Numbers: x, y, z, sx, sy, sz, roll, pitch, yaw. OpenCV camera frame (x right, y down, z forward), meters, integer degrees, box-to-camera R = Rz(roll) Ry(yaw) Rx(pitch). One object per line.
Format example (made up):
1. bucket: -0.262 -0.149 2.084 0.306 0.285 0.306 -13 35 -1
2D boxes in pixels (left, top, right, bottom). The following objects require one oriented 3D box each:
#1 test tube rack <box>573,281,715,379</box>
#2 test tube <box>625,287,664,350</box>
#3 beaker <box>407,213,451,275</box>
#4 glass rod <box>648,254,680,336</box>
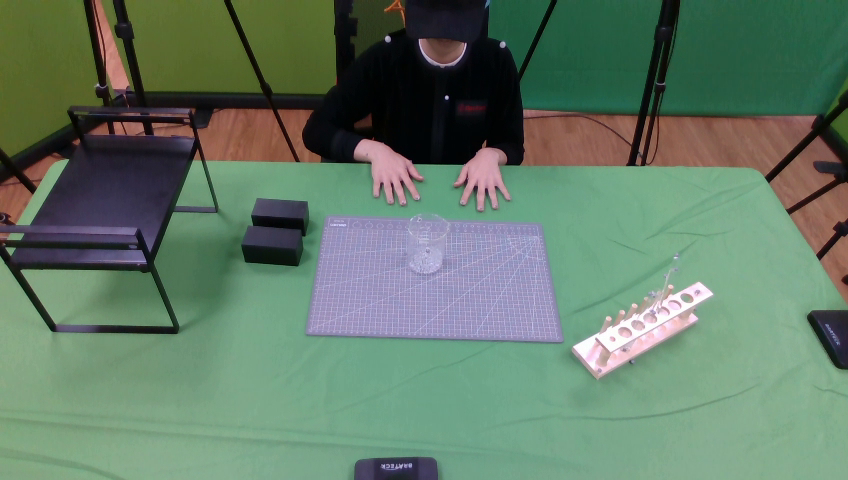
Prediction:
1. test tube rack: 0.378 0.140 1.038 0.242 0.085 0.066 -22 51 -23
2. test tube: 0.354 0.130 0.978 0.017 0.151 0.017 3 43 -3
3. beaker: 0.008 0.009 1.129 0.084 0.101 0.073 -11 48 -15
4. glass rod: 0.391 0.094 0.991 0.008 0.201 0.008 -2 44 2
